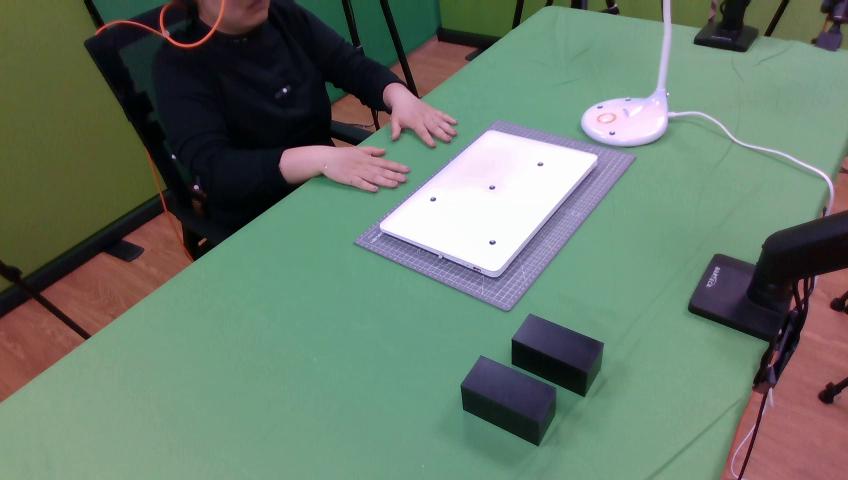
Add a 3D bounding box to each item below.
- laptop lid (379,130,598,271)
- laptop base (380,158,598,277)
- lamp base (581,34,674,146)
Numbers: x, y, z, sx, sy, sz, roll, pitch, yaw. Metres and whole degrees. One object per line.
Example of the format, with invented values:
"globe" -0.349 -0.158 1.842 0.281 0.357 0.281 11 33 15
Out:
"laptop lid" 0.117 -0.087 1.037 0.240 0.013 0.358 22 48 33
"laptop base" 0.120 -0.077 1.043 0.233 0.023 0.355 20 47 32
"lamp base" 0.392 -0.291 1.129 0.180 0.181 0.159 -11 41 -8
